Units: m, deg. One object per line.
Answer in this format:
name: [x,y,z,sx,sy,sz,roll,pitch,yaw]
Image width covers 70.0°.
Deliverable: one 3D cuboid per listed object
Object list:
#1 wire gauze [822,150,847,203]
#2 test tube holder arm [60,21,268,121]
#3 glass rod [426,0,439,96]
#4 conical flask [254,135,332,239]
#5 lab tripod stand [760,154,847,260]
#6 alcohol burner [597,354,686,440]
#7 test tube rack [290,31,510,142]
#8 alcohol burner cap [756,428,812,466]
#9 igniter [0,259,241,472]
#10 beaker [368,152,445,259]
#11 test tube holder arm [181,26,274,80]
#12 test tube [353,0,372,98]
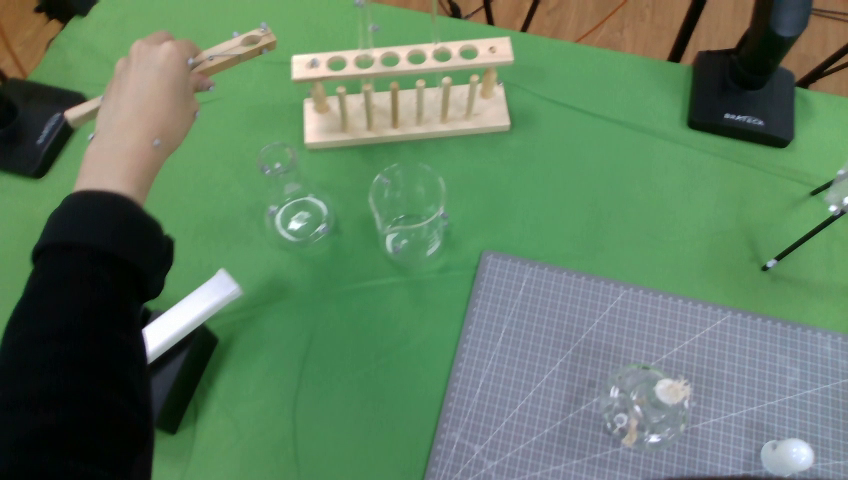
wire gauze: [0.437,-0.056,0.538,0.121,0.011,0.125,34,70,13]
test tube holder arm: [-0.205,-0.140,0.494,0.178,0.015,0.013,-33,84,-25]
glass rod: [0.007,-0.230,0.650,0.008,0.201,0.008,-2,57,4]
conical flask: [-0.140,-0.058,0.623,0.075,0.123,0.074,0,64,1]
lab tripod stand: [0.430,-0.027,0.600,0.148,0.132,0.147,1,64,-1]
alcohol burner: [0.196,0.134,0.533,0.078,0.120,0.077,1,64,-1]
test tube rack: [-0.025,-0.175,0.698,0.242,0.086,0.066,-6,64,-3]
alcohol burner cap: [0.328,0.185,0.548,0.034,0.048,0.033,0,65,0]
igniter: [-0.287,0.114,0.542,0.276,0.025,0.056,-40,61,-17]
beaker: [-0.018,-0.028,0.621,0.073,0.101,0.083,28,68,14]
test tube holder arm: [-0.167,-0.158,0.513,0.088,0.015,0.010,-33,84,-25]
test tube: [-0.066,-0.210,0.659,0.017,0.151,0.017,1,58,-2]
